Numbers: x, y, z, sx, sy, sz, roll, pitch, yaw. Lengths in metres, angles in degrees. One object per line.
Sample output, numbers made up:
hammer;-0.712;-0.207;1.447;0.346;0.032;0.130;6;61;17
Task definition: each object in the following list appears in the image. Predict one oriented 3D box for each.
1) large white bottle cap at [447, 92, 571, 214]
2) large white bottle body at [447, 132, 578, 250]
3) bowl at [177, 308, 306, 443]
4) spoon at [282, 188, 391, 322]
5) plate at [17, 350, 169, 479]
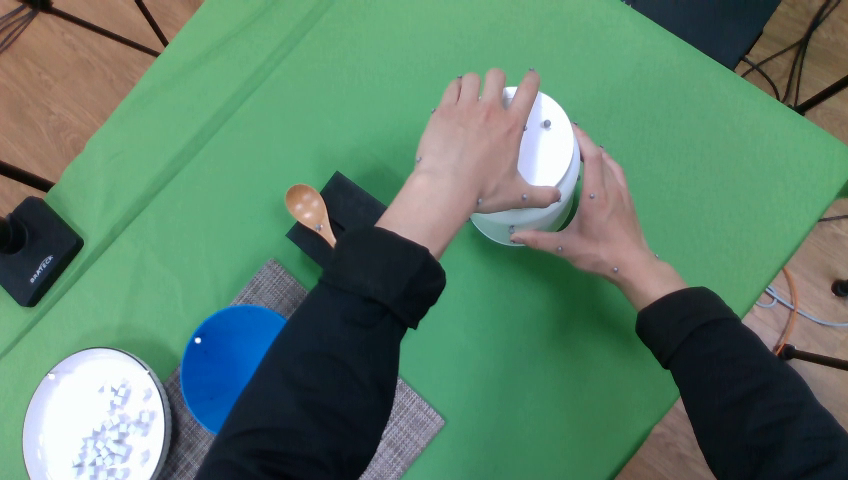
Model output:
large white bottle cap;0.078;-0.082;0.563;0.114;0.018;0.114;-2;79;11
large white bottle body;0.095;-0.066;0.647;0.130;0.185;0.130;-2;80;10
bowl;-0.201;0.157;0.715;0.151;0.077;0.151;-2;80;10
spoon;-0.101;0.019;0.706;0.041;0.022;0.193;-37;81;-4
plate;-0.408;0.243;0.759;0.209;0.038;0.208;-3;78;12
